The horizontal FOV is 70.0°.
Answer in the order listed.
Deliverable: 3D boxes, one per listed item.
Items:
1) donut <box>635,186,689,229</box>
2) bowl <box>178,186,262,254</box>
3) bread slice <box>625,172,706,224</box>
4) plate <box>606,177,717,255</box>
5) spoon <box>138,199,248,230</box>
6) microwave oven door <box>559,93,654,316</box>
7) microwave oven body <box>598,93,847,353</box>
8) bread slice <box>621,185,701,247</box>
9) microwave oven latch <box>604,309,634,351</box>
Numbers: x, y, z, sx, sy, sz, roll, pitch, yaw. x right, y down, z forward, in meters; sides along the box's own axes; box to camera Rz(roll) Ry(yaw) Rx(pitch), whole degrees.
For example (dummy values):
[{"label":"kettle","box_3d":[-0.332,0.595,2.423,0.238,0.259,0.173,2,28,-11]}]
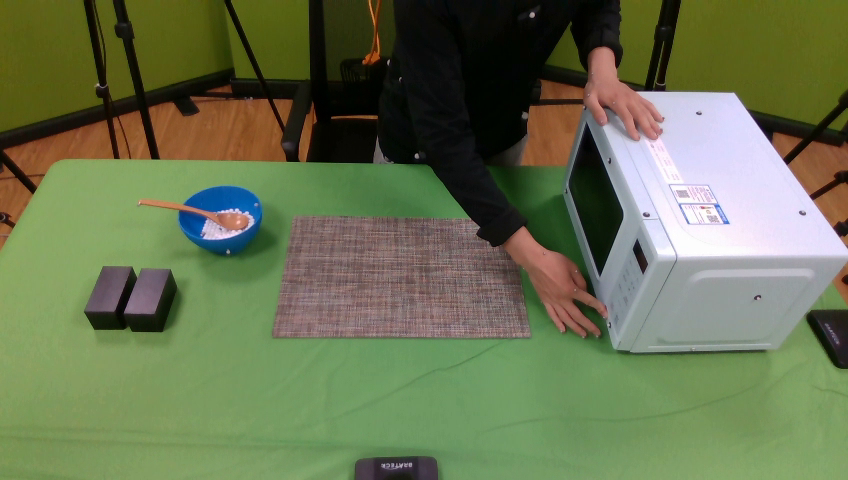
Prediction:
[{"label":"donut","box_3d":[0.454,-0.062,1.159,0.099,0.048,0.098,-2,47,2]},{"label":"bowl","box_3d":[-0.382,-0.026,1.157,0.151,0.077,0.150,2,46,-2]},{"label":"bread slice","box_3d":[0.462,-0.080,1.139,0.105,0.019,0.131,-31,53,-34]},{"label":"plate","box_3d":[0.456,-0.043,1.180,0.208,0.039,0.206,1,45,0]},{"label":"spoon","box_3d":[-0.430,-0.053,1.136,0.194,0.022,0.041,15,49,-20]},{"label":"microwave oven door","box_3d":[0.328,-0.074,1.123,0.039,0.245,0.353,-1,46,-5]},{"label":"microwave oven body","box_3d":[0.476,-0.042,1.110,0.326,0.261,0.438,-1,45,-4]},{"label":"bread slice","box_3d":[0.462,-0.043,1.169,0.134,0.018,0.107,32,59,19]},{"label":"microwave oven latch","box_3d":[0.334,0.153,1.044,0.030,0.029,0.078,2,45,-2]}]
